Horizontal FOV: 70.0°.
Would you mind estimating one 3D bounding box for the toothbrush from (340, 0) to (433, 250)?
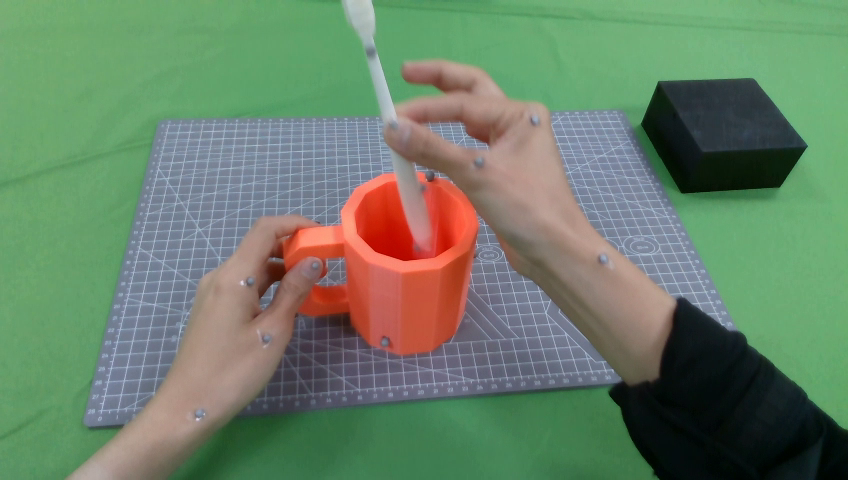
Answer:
[{"bbox_3d":[-0.014,-0.051,0.330,0.014,0.184,0.016,-24,51,-7],"label":"toothbrush"}]

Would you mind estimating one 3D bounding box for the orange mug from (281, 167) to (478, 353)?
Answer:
[{"bbox_3d":[-0.030,0.016,0.406,0.126,0.101,0.082,-3,50,-13],"label":"orange mug"}]
